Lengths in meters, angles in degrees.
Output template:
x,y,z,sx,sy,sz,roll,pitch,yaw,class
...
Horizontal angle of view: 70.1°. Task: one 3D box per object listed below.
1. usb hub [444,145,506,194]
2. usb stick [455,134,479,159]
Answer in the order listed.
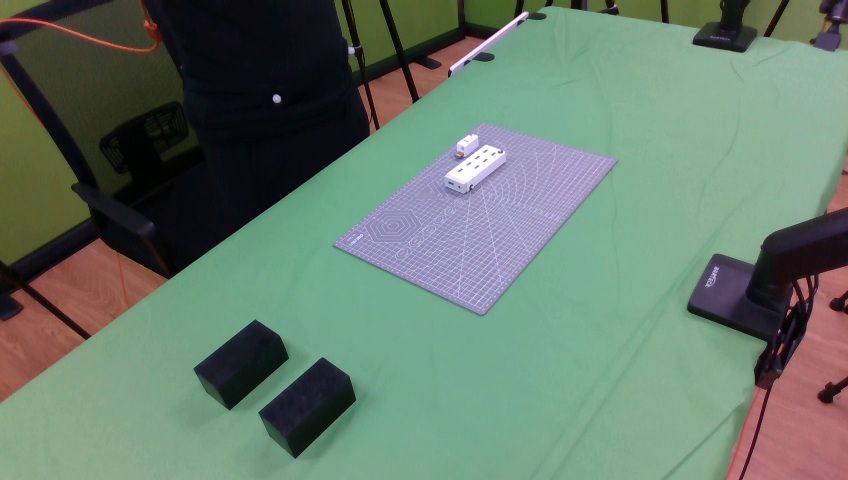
x,y,z,sx,sy,sz,roll,pitch,yaw,class
0.095,-0.129,1.101,0.049,0.025,0.125,27,51,33,usb hub
0.080,-0.177,1.159,0.021,0.027,0.059,24,52,33,usb stick
